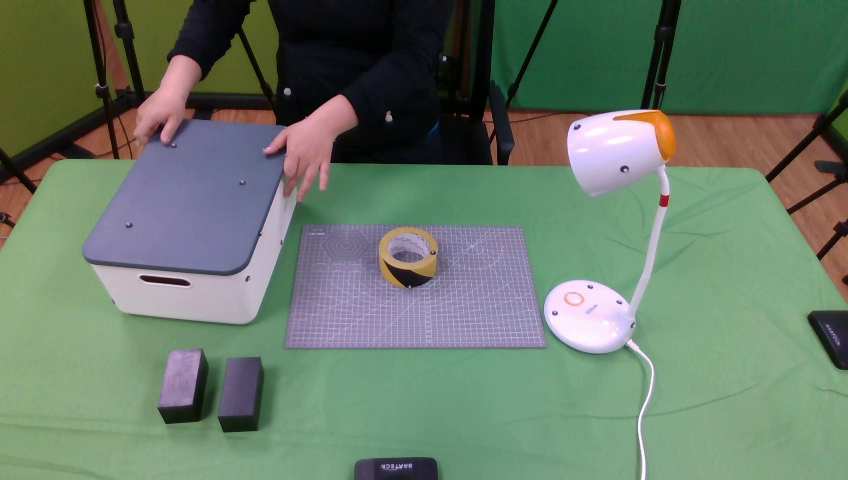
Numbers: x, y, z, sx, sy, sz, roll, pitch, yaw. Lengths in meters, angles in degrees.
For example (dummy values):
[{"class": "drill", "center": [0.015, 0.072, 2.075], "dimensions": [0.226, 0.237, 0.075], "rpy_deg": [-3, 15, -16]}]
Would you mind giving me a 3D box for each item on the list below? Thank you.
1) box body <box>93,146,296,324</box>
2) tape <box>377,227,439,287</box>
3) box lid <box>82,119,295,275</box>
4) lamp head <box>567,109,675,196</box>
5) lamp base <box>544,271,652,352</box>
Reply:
[{"class": "box body", "center": [-0.392, -0.035, 1.104], "dimensions": [0.254, 0.161, 0.362], "rpy_deg": [5, 46, 1]}, {"class": "tape", "center": [-0.031, 0.032, 1.140], "dimensions": [0.117, 0.053, 0.116], "rpy_deg": [2, 46, -2]}, {"class": "box lid", "center": [-0.389, -0.088, 1.045], "dimensions": [0.263, 0.015, 0.369], "rpy_deg": [4, 47, 2]}, {"class": "lamp head", "center": [0.272, -0.123, 0.818], "dimensions": [0.122, 0.113, 0.112], "rpy_deg": [-9, 35, 37]}, {"class": "lamp base", "center": [0.310, 0.086, 1.029], "dimensions": [0.178, 0.181, 0.160], "rpy_deg": [32, 52, 21]}]
